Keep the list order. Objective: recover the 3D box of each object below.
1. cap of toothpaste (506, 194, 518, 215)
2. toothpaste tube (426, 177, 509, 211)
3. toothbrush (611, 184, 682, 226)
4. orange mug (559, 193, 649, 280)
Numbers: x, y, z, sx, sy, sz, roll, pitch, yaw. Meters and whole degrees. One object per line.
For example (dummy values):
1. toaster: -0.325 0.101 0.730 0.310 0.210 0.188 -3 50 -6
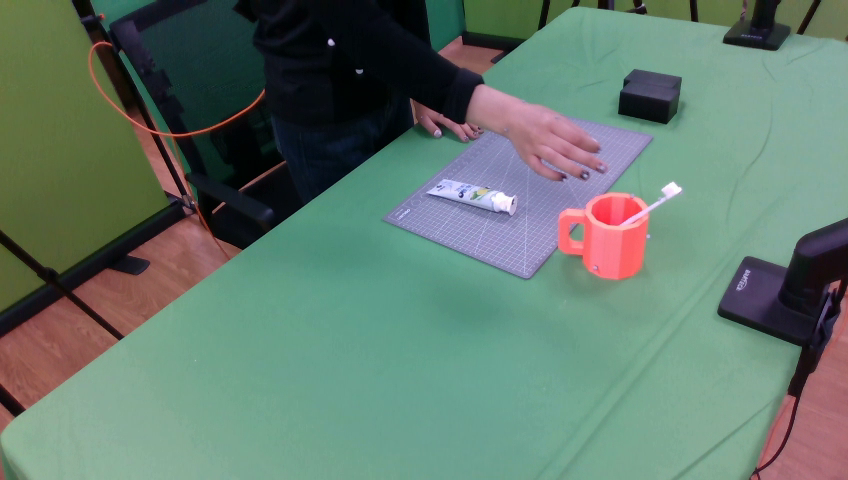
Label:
1. cap of toothpaste: 0.146 -0.060 1.008 0.011 0.037 0.037 14 46 22
2. toothpaste tube: 0.083 -0.081 1.054 0.164 0.034 0.055 18 40 34
3. toothbrush: 0.294 -0.035 0.847 0.017 0.181 0.014 30 63 -7
4. orange mug: 0.261 -0.008 0.884 0.126 0.101 0.083 9 43 14
